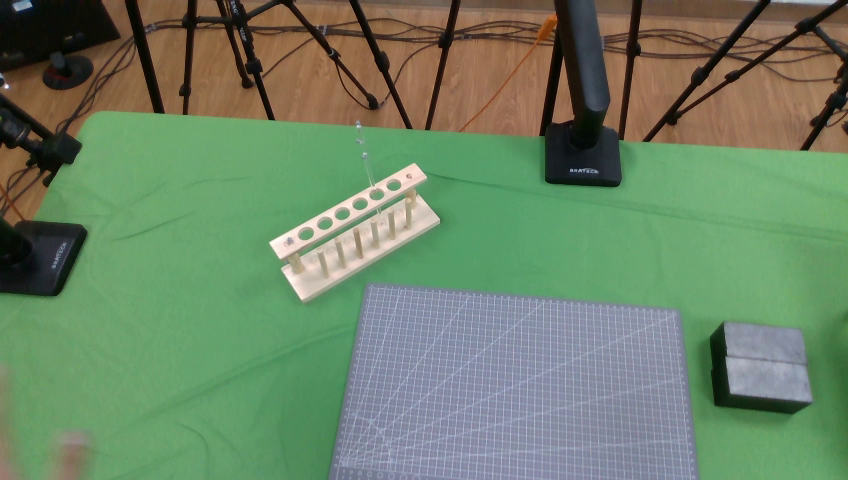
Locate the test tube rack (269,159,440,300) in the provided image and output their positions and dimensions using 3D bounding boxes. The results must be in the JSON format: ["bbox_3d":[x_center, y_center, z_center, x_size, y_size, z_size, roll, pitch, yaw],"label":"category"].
[{"bbox_3d":[-0.094,-0.016,0.887,0.242,0.086,0.066,-31,62,-16],"label":"test tube rack"}]

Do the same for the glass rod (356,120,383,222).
[{"bbox_3d":[-0.076,-0.091,0.854,0.008,0.201,0.008,-3,52,4],"label":"glass rod"}]
